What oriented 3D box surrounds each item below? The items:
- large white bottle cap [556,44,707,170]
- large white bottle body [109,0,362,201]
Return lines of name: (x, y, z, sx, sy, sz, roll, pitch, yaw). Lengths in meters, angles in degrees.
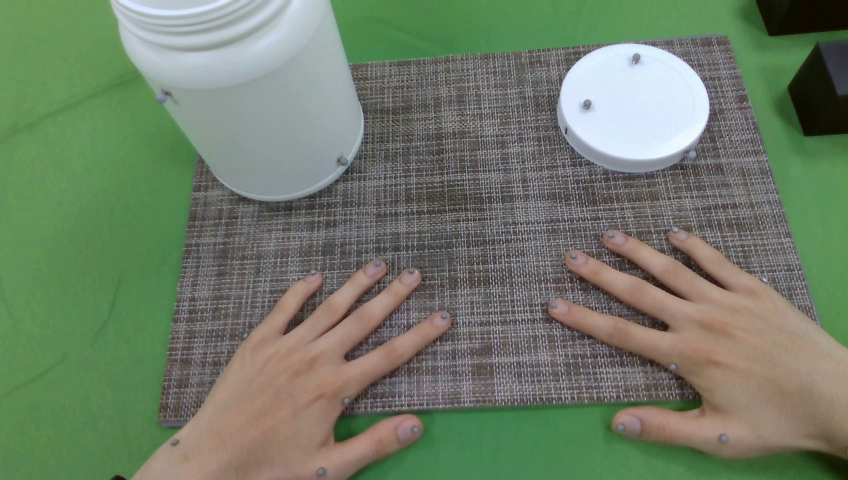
large white bottle cap: (0.164, -0.108, 0.482, 0.115, 0.018, 0.114, -1, 65, 3)
large white bottle body: (-0.122, -0.125, 0.421, 0.130, 0.186, 0.129, -2, 64, 4)
